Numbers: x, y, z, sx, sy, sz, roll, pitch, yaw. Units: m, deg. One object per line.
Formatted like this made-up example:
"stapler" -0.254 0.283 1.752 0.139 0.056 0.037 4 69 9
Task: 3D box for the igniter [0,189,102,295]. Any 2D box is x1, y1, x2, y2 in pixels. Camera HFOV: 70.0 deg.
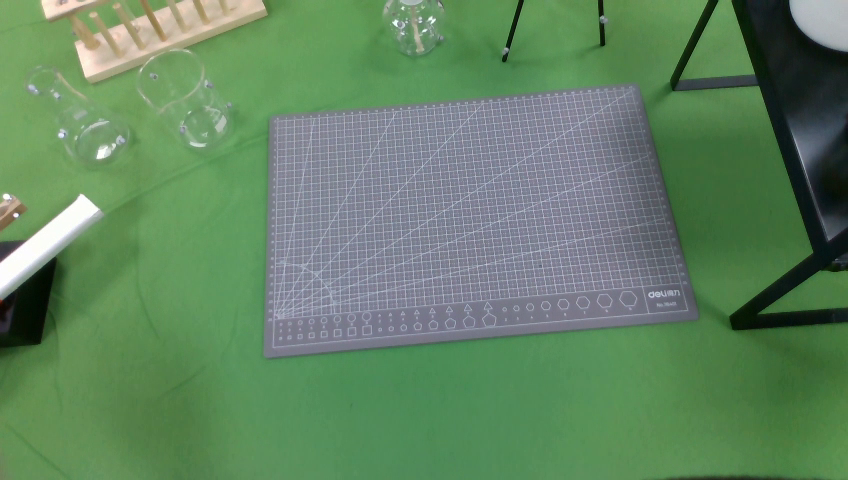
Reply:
"igniter" -0.443 0.051 0.600 0.057 0.025 0.276 37 70 14

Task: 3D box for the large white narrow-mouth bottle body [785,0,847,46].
"large white narrow-mouth bottle body" 0.368 -0.246 0.458 0.102 0.196 0.101 -1 69 2

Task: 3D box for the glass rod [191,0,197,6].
"glass rod" -0.318 -0.358 0.714 0.008 0.201 0.008 -4 61 8

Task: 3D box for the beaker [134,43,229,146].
"beaker" -0.273 -0.159 0.694 0.074 0.101 0.083 9 68 7

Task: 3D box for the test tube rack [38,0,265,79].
"test tube rack" -0.335 -0.297 0.761 0.242 0.086 0.066 -25 68 -8

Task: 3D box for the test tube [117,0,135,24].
"test tube" -0.378 -0.315 0.717 0.017 0.151 0.017 1 64 -1

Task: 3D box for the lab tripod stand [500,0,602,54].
"lab tripod stand" 0.152 -0.301 0.718 0.148 0.132 0.147 0 66 1

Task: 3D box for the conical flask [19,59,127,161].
"conical flask" -0.398 -0.149 0.681 0.075 0.123 0.075 -1 67 2

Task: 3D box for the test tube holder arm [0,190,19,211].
"test tube holder arm" -0.492 0.015 0.620 0.013 0.015 0.178 37 73 16

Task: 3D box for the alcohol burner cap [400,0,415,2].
"alcohol burner cap" -0.019 -0.303 0.697 0.034 0.048 0.033 -1 66 2

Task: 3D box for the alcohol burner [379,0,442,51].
"alcohol burner" -0.017 -0.287 0.730 0.078 0.120 0.077 0 65 1

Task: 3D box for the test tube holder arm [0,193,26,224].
"test tube holder arm" -0.458 -0.014 0.632 0.010 0.015 0.087 39 73 17
